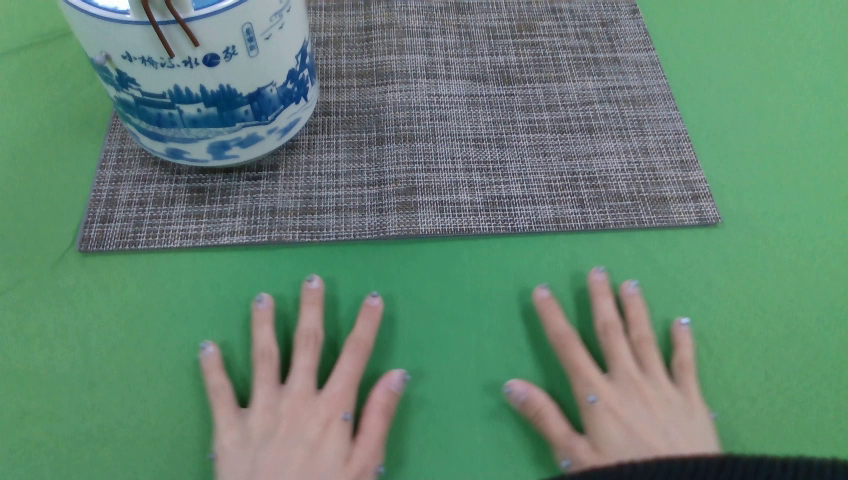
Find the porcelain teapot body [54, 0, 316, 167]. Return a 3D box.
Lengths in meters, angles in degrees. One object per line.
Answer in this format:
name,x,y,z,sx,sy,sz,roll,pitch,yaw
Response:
porcelain teapot body,-0.157,-0.184,0.396,0.145,0.227,0.203,-8,58,-7
